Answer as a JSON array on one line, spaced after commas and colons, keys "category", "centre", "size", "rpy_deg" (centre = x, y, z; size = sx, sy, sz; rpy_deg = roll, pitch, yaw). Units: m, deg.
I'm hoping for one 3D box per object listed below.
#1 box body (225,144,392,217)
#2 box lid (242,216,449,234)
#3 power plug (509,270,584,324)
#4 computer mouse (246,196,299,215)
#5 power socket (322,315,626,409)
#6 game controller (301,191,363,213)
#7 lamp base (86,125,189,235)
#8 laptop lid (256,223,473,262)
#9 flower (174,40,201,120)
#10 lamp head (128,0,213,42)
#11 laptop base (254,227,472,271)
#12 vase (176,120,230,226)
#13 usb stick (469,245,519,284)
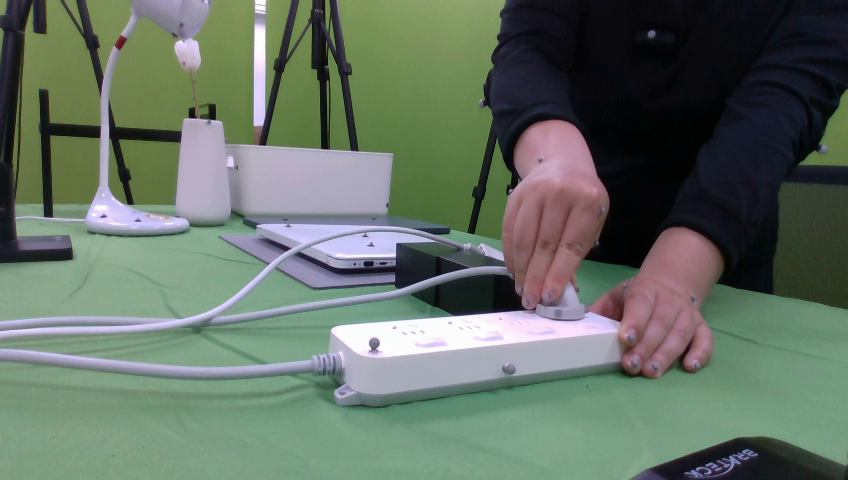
[{"category": "box body", "centre": [-0.289, -0.143, 1.474], "size": [0.366, 0.160, 0.253], "rpy_deg": [-1, 9, -29]}, {"category": "box lid", "centre": [-0.162, -0.030, 1.233], "size": [0.373, 0.015, 0.262], "rpy_deg": [-1, 8, -32]}, {"category": "power plug", "centre": [0.095, 0.052, 0.469], "size": [0.035, 0.052, 0.072], "rpy_deg": [0, 6, -15]}, {"category": "computer mouse", "centre": [-0.355, -0.082, 1.417], "size": [0.117, 0.041, 0.063], "rpy_deg": [1, 9, 7]}, {"category": "power socket", "centre": [0.040, 0.076, 0.410], "size": [0.228, 0.032, 0.072], "rpy_deg": [-1, 7, -27]}, {"category": "game controller", "centre": [-0.240, -0.098, 1.550], "size": [0.155, 0.051, 0.097], "rpy_deg": [2, 10, 5]}, {"category": "lamp base", "centre": [-0.497, -0.105, 1.026], "size": [0.179, 0.180, 0.160], "rpy_deg": [1, 7, 3]}, {"category": "laptop lid", "centre": [-0.092, 0.000, 0.911], "size": [0.243, 0.013, 0.355], "rpy_deg": [1, 7, -30]}, {"category": "flower", "centre": [-0.430, -0.211, 1.165], "size": [0.044, 0.361, 0.038], "rpy_deg": [-10, -5, -22]}, {"category": "lamp head", "centre": [-0.423, -0.394, 0.980], "size": [0.123, 0.112, 0.112], "rpy_deg": [20, 7, -3]}, {"category": "laptop base", "centre": [-0.095, 0.012, 0.911], "size": [0.237, 0.023, 0.352], "rpy_deg": [2, 7, -32]}, {"category": "vase", "centre": [-0.425, -0.128, 1.159], "size": [0.098, 0.200, 0.098], "rpy_deg": [2, 9, 0]}, {"category": "usb stick", "centre": [0.081, 0.030, 0.671], "size": [0.059, 0.021, 0.027], "rpy_deg": [28, 20, -26]}]
